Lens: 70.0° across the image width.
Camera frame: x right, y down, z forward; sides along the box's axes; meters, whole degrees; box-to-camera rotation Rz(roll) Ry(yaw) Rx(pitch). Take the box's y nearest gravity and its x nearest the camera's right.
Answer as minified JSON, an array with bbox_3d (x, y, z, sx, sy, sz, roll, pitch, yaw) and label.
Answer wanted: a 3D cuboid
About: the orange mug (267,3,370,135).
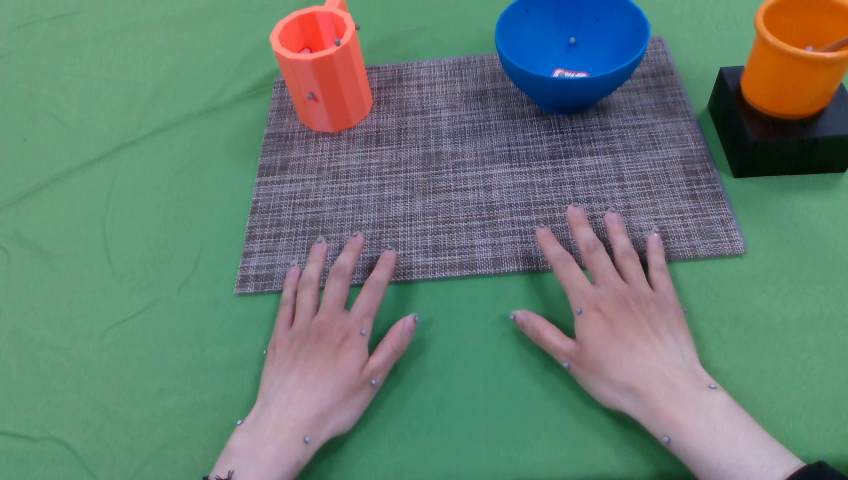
[{"bbox_3d":[-0.105,-0.191,0.651,0.083,0.102,0.125,6,60,12],"label":"orange mug"}]

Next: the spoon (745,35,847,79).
[{"bbox_3d":[0.348,-0.160,0.483,0.041,0.193,0.022,-35,101,-20],"label":"spoon"}]

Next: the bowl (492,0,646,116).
[{"bbox_3d":[0.145,-0.182,0.626,0.151,0.077,0.150,-3,54,5],"label":"bowl"}]
